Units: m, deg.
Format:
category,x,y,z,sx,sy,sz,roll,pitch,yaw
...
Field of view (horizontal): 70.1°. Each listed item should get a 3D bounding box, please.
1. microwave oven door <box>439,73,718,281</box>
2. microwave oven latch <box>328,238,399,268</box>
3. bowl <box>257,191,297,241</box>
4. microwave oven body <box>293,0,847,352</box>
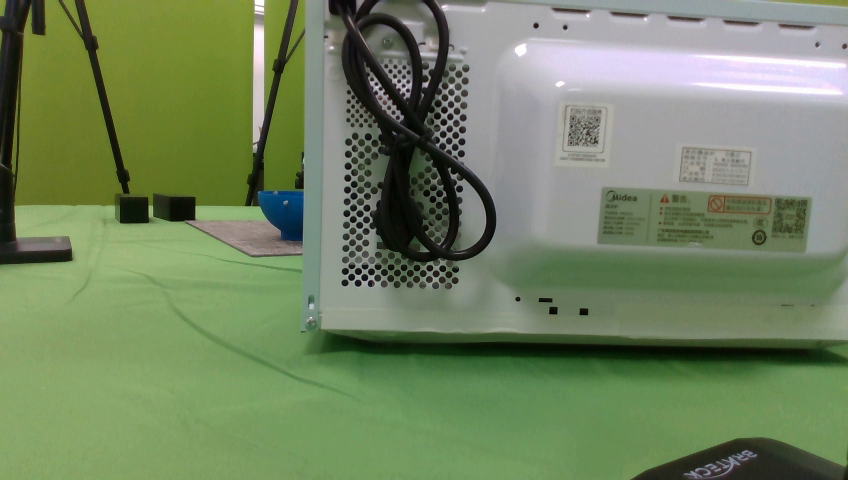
category,x,y,z,sx,sy,sz,roll,pitch,yaw
microwave oven door,0.184,-0.090,0.801,0.354,0.243,0.039,7,7,33
microwave oven latch,-0.069,0.015,0.694,0.079,0.029,0.030,3,7,-3
bowl,-0.206,-0.041,1.027,0.151,0.077,0.151,3,8,0
microwave oven body,0.122,-0.055,0.550,0.442,0.260,0.325,3,7,-5
